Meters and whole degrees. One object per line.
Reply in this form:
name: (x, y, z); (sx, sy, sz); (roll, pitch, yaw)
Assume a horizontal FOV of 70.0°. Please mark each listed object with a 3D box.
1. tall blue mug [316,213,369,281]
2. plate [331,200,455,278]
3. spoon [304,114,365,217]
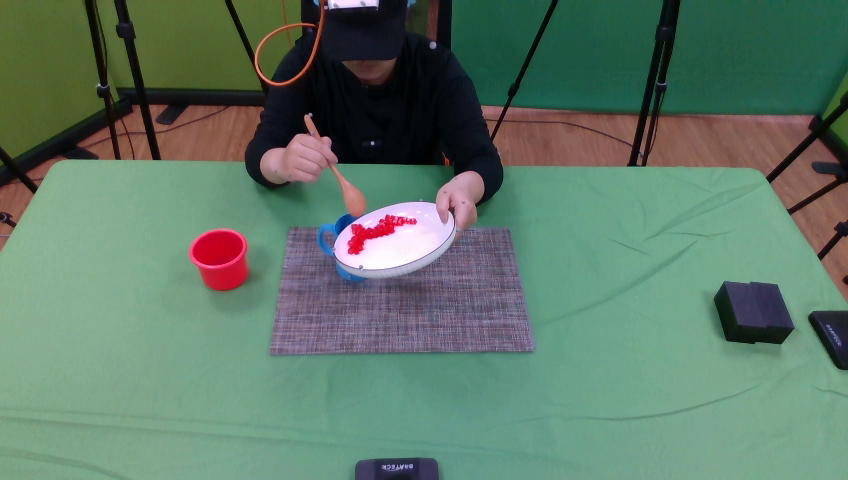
tall blue mug: (-0.141, 0.014, 1.109); (0.107, 0.108, 0.077); (-4, 48, -9)
plate: (-0.048, 0.002, 0.998); (0.207, 0.039, 0.206); (-11, 31, 7)
spoon: (-0.155, -0.125, 1.032); (0.041, 0.194, 0.021); (-39, 17, -30)
